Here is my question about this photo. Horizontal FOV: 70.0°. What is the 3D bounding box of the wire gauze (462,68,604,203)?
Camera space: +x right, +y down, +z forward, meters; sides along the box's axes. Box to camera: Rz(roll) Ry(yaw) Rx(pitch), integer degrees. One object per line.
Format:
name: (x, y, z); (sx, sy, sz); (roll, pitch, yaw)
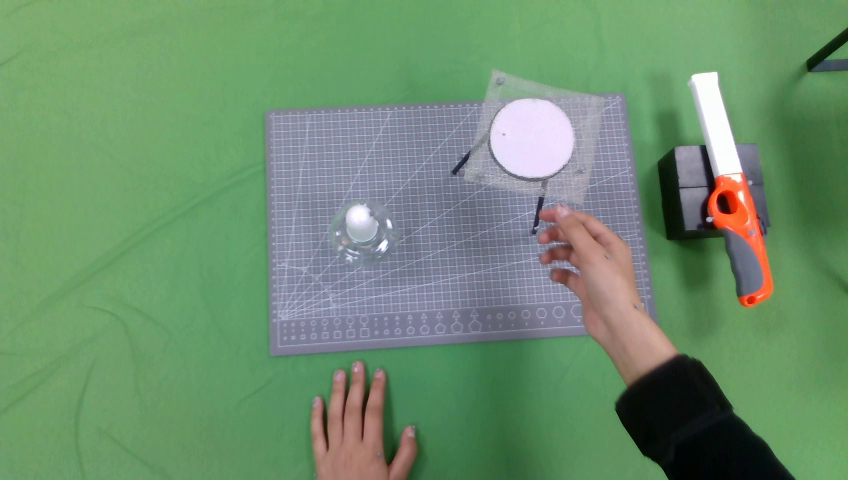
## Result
wire gauze: (0.112, -0.106, 0.609); (0.121, 0.011, 0.124); (15, 77, 1)

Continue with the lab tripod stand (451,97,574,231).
lab tripod stand: (0.107, -0.094, 0.675); (0.148, 0.132, 0.147); (0, 76, -1)

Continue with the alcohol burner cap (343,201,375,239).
alcohol burner cap: (-0.069, -0.023, 0.627); (0.034, 0.048, 0.033); (1, 71, -2)

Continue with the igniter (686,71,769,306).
igniter: (0.343, -0.063, 0.688); (0.057, 0.025, 0.275); (-7, 77, -1)

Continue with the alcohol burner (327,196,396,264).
alcohol burner: (-0.069, -0.014, 0.662); (0.078, 0.119, 0.077); (0, 80, -1)
